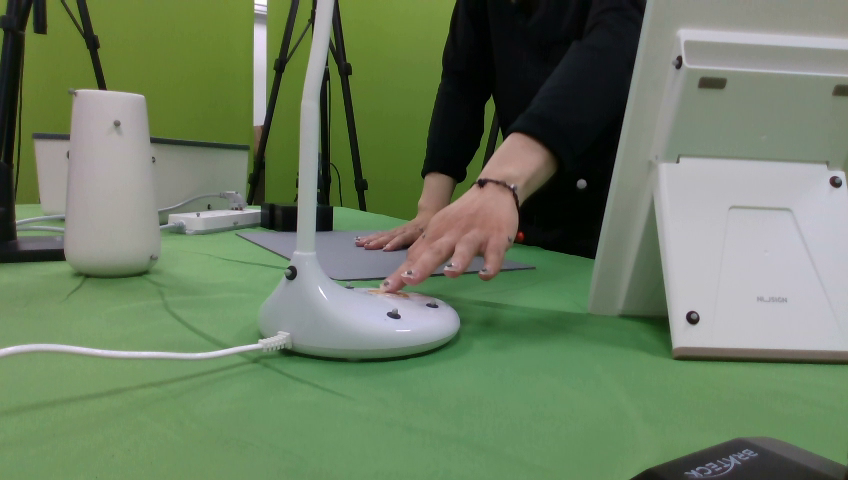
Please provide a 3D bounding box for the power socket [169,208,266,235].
[{"bbox_3d":[-0.379,-0.038,1.130,0.072,0.032,0.227,4,8,18],"label":"power socket"}]

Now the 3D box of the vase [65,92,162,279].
[{"bbox_3d":[-0.347,-0.060,0.673,0.098,0.200,0.098,1,7,0],"label":"vase"}]

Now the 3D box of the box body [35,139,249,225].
[{"bbox_3d":[-0.561,-0.127,1.258,0.254,0.160,0.365,4,8,13],"label":"box body"}]

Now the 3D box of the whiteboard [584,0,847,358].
[{"bbox_3d":[0.269,-0.034,0.466,0.217,0.305,0.143,2,27,-1],"label":"whiteboard"}]

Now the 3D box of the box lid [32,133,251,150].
[{"bbox_3d":[-0.558,-0.200,1.250,0.263,0.015,0.372,5,8,13],"label":"box lid"}]

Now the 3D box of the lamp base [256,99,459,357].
[{"bbox_3d":[-0.055,-0.013,0.463,0.160,0.180,0.180,6,11,27],"label":"lamp base"}]

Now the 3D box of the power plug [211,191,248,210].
[{"bbox_3d":[-0.384,-0.071,1.206,0.072,0.052,0.035,1,8,27],"label":"power plug"}]
